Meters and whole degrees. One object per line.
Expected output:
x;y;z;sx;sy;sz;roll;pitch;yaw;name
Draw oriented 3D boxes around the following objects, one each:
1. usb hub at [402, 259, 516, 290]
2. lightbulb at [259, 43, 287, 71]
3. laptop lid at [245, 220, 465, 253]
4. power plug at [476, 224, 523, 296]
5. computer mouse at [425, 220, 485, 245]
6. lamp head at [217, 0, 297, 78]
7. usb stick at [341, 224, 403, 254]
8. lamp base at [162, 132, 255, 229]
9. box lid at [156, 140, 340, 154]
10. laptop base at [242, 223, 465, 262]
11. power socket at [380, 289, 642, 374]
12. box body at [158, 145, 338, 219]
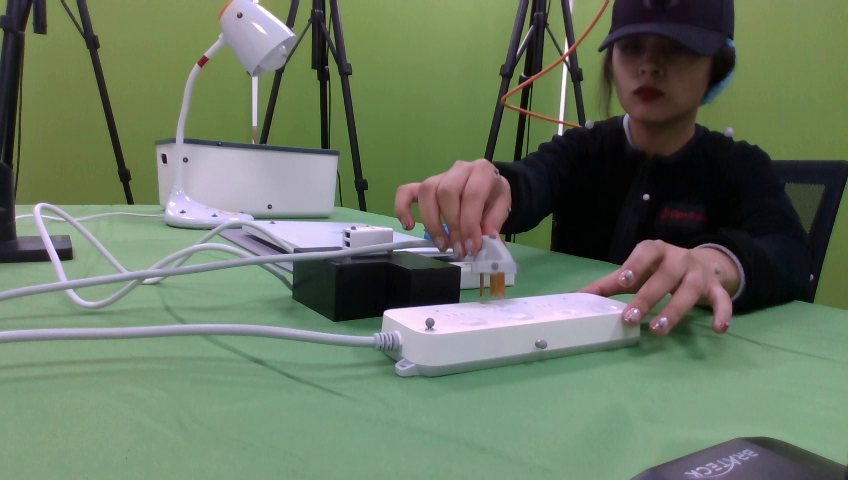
0.042;0.038;0.689;0.126;0.025;0.049;-2;9;-30;usb hub
-0.295;-0.357;1.101;0.059;0.107;0.059;-38;2;2;lightbulb
-0.124;-0.009;0.945;0.243;0.013;0.355;1;7;-29;laptop lid
0.050;0.017;0.449;0.035;0.052;0.073;-21;-10;24;power plug
0.060;-0.013;1.059;0.117;0.041;0.062;-2;10;-5;computer mouse
-0.315;-0.372;1.101;0.123;0.112;0.112;41;2;-9;lamp head
-0.047;-0.001;0.567;0.059;0.027;0.021;1;5;-32;usb stick
-0.419;-0.116;1.156;0.179;0.180;0.160;0;7;0;lamp base
-0.409;-0.212;1.404;0.373;0.015;0.262;-2;8;-32;box lid
-0.126;0.003;0.945;0.237;0.023;0.352;2;6;-31;laptop base
0.072;0.064;0.460;0.228;0.032;0.072;-3;7;-30;power socket
-0.410;-0.139;1.414;0.366;0.160;0.253;-3;9;-33;box body
